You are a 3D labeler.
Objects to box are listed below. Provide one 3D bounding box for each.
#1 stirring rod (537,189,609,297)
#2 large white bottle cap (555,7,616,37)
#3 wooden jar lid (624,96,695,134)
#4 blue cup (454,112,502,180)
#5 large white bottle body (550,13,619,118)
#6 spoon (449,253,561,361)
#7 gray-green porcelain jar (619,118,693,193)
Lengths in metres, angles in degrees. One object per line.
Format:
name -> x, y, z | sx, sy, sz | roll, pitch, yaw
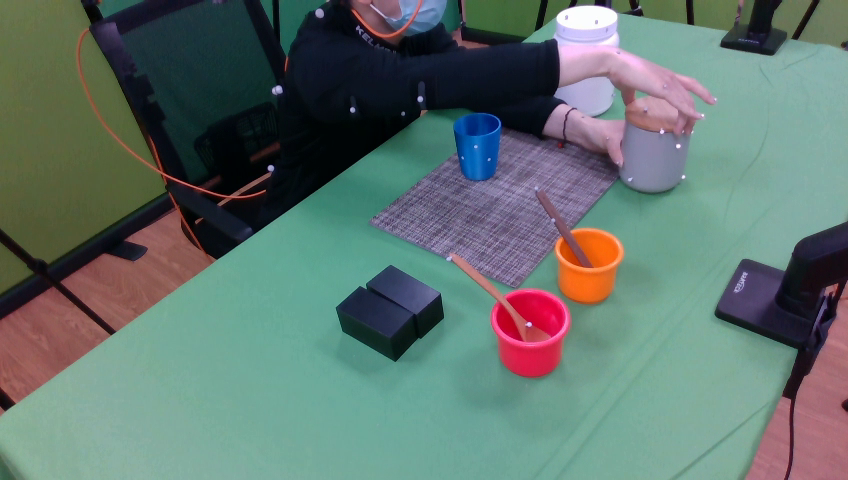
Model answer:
stirring rod -> 0.210, 0.004, 0.855 | 0.014, 0.006, 0.176 | -31, 88, -32
large white bottle cap -> 0.311, -0.420, 1.163 | 0.115, 0.018, 0.114 | -4, 40, 4
wooden jar lid -> 0.379, -0.198, 0.976 | 0.108, 0.021, 0.108 | -2, 44, 3
blue cup -> 0.097, -0.166, 1.088 | 0.092, 0.100, 0.092 | -3, 41, 3
large white bottle body -> 0.320, -0.356, 1.218 | 0.130, 0.185, 0.130 | -4, 41, 4
spoon -> 0.103, 0.083, 0.770 | 0.194, 0.021, 0.042 | 47, 51, -7
gray-green porcelain jar -> 0.386, -0.151, 1.016 | 0.106, 0.127, 0.105 | -4, 40, 4
